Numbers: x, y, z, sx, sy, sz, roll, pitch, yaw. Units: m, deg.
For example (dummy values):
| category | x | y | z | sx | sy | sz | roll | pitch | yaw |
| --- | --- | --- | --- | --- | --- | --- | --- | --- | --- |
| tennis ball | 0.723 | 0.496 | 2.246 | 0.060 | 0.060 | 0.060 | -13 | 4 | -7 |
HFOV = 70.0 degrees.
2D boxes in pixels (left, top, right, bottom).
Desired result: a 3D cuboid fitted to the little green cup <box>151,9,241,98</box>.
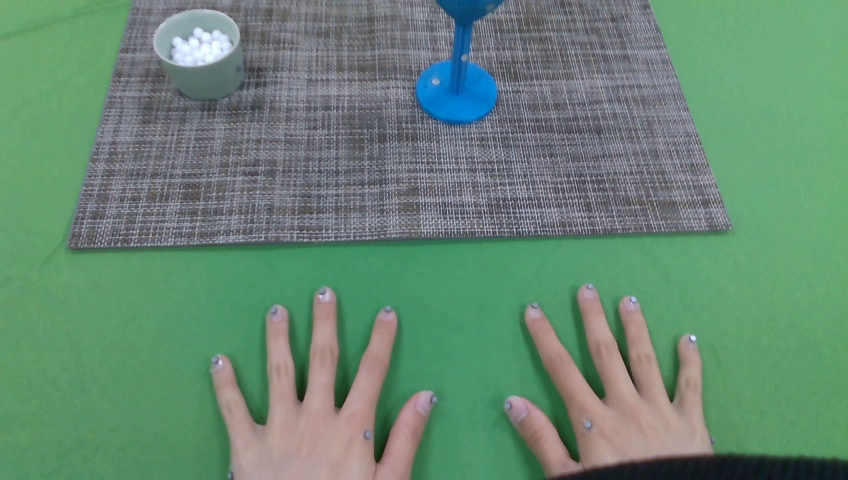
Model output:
| category | x | y | z | sx | sy | sz | roll | pitch | yaw |
| --- | --- | --- | --- | --- | --- | --- | --- | --- | --- |
| little green cup | -0.168 | -0.139 | 0.456 | 0.061 | 0.039 | 0.061 | 2 | 59 | -2 |

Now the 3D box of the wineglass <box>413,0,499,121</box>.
| category | x | y | z | sx | sy | sz | roll | pitch | yaw |
| --- | --- | --- | --- | --- | --- | --- | --- | --- | --- |
| wineglass | 0.026 | -0.163 | 0.404 | 0.074 | 0.173 | 0.073 | 1 | 59 | -2 |
